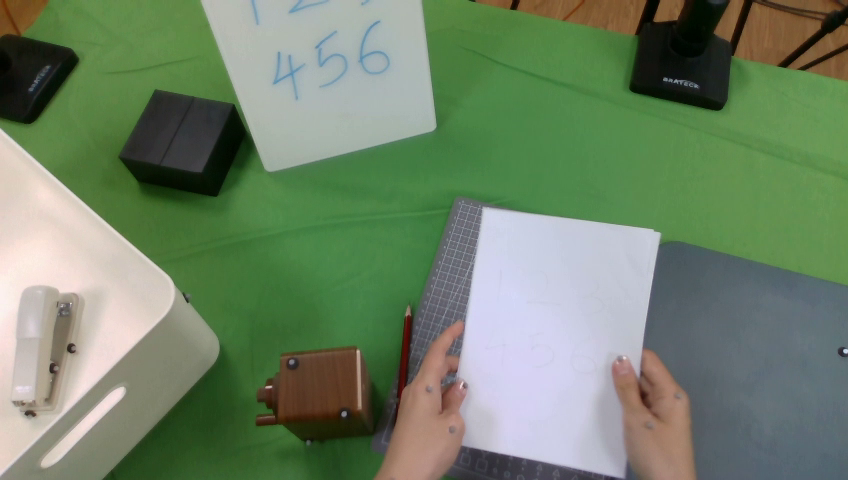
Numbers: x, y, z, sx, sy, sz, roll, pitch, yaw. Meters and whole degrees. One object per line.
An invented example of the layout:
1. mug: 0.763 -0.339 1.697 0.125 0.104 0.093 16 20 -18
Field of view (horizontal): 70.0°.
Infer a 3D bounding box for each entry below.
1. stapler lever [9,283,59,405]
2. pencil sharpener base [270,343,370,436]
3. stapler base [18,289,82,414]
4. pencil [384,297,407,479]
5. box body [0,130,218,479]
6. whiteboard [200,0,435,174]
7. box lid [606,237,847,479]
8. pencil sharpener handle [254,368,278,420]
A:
1. stapler lever: -0.383 0.099 0.592 0.027 0.040 0.117 -4 66 1
2. pencil sharpener base: -0.093 0.141 0.559 0.077 0.108 0.061 -5 64 -1
3. stapler base: -0.384 0.109 0.616 0.041 0.024 0.129 -4 66 1
4. pencil: -0.026 0.148 0.607 0.012 0.012 0.192 3 65 2
5. box body: -0.409 0.064 0.567 0.362 0.161 0.253 35 69 16
6. whiteboard: -0.123 -0.262 0.681 0.217 0.308 0.142 -15 45 -7
7. box lid: 0.325 0.180 0.592 0.263 0.015 0.369 16 65 7
8. pencil sharpener handle: -0.144 0.143 0.544 0.030 0.068 0.035 -5 47 -1
